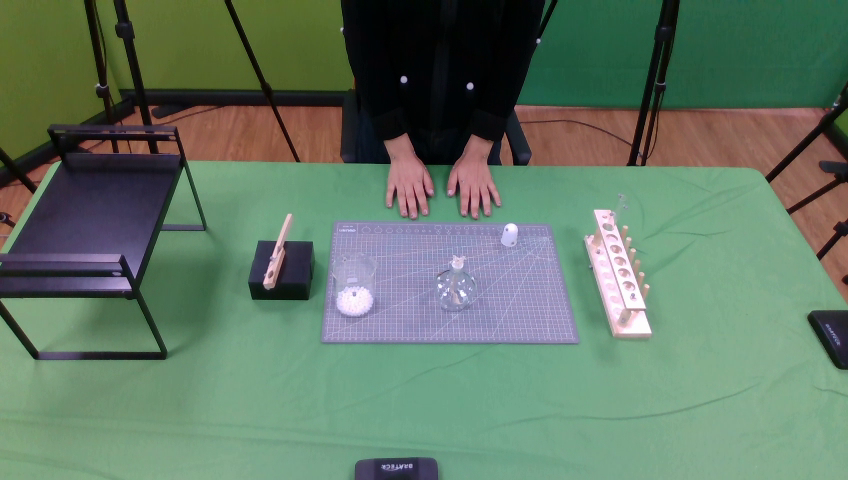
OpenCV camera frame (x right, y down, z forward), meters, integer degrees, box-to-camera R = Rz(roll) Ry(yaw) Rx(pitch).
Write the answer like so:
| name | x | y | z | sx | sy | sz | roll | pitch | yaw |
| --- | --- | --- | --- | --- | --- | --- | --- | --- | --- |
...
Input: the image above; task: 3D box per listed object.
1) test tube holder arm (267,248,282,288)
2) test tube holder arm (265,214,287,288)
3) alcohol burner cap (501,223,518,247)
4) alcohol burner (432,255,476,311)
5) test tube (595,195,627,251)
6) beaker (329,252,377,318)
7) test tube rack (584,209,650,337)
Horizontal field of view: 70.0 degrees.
| name | x | y | z | sx | sy | sz | roll | pitch | yaw |
| --- | --- | --- | --- | --- | --- | --- | --- | --- | --- |
| test tube holder arm | -0.262 | 0.048 | 1.068 | 0.010 | 0.015 | 0.087 | 4 | 45 | -3 |
| test tube holder arm | -0.268 | 0.016 | 1.099 | 0.013 | 0.015 | 0.177 | 2 | 45 | -4 |
| alcohol burner cap | 0.172 | -0.013 | 1.206 | 0.034 | 0.048 | 0.033 | 1 | 46 | -1 |
| alcohol burner | 0.055 | 0.070 | 1.068 | 0.078 | 0.119 | 0.077 | 3 | 45 | -3 |
| test tube | 0.350 | -0.029 | 1.140 | 0.017 | 0.151 | 0.017 | 3 | 50 | -3 |
| beaker | -0.121 | 0.080 | 1.055 | 0.084 | 0.101 | 0.073 | -16 | 50 | -19 |
| test tube rack | 0.365 | 0.056 | 1.129 | 0.067 | 0.085 | 0.240 | 1 | 46 | -4 |
